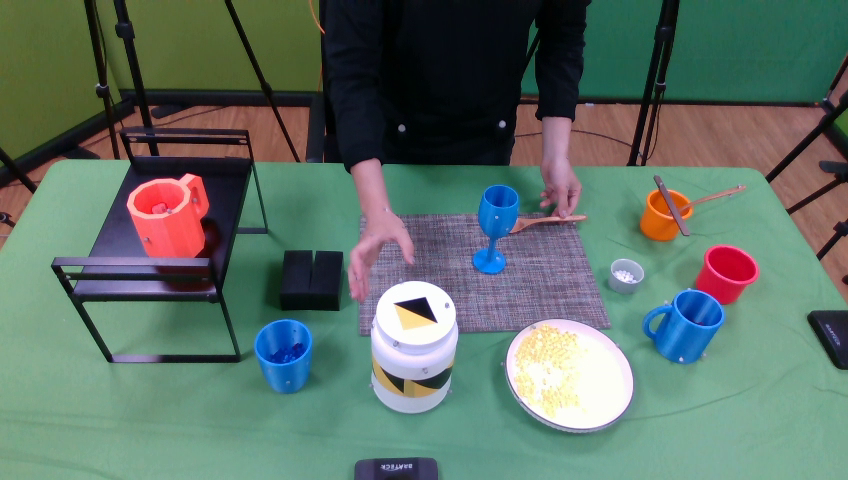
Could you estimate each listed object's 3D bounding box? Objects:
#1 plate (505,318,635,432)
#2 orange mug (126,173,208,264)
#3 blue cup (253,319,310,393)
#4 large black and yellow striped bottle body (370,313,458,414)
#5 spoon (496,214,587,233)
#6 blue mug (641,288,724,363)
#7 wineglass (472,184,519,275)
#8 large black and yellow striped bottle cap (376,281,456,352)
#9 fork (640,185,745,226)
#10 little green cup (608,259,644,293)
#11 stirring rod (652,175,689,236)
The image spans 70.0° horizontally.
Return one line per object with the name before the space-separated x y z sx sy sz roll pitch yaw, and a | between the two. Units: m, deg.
plate | 0.235 0.221 0.991 0.209 0.038 0.208 2 45 -2
orange mug | -0.371 -0.040 0.902 0.083 0.101 0.126 18 52 13
blue cup | -0.217 0.187 0.943 0.093 0.101 0.092 3 45 -3
large black and yellow striped bottle body | -0.017 0.165 0.924 0.131 0.185 0.130 2 46 -2
spoon | 0.243 -0.039 1.242 0.194 0.022 0.041 -6 58 -4
blue mug | 0.432 0.144 1.033 0.116 0.106 0.082 8 46 5
wineglass | 0.129 -0.018 1.113 0.074 0.173 0.073 2 46 -2
large black and yellow striped bottle cap | -0.011 0.107 0.863 0.115 0.019 0.114 2 47 -2
fork | 0.534 -0.069 1.215 0.207 0.019 0.028 -26 27 33
little green cup | 0.379 0.070 1.147 0.061 0.039 0.061 3 45 -2
stirring rod | 0.491 -0.072 1.211 0.014 0.006 0.175 -1 46 -6
